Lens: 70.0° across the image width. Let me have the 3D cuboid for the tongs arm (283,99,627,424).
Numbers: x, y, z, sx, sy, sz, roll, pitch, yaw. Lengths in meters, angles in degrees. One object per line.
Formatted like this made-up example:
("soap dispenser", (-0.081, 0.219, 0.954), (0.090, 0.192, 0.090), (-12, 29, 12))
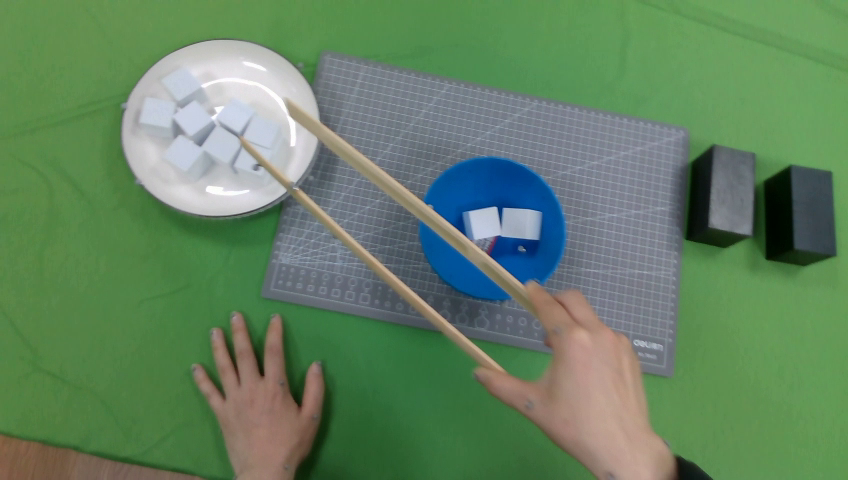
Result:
("tongs arm", (0.012, 0.004, 0.498), (0.385, 0.028, 0.028), (41, 64, 15))

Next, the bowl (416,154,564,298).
("bowl", (0.063, -0.006, 0.636), (0.151, 0.077, 0.150), (2, 75, -6))

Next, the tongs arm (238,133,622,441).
("tongs arm", (-0.009, 0.024, 0.487), (0.050, 0.027, 0.382), (-41, 73, -21))

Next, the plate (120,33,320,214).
("plate", (-0.217, -0.124, 0.660), (0.208, 0.039, 0.206), (1, 76, -5))
